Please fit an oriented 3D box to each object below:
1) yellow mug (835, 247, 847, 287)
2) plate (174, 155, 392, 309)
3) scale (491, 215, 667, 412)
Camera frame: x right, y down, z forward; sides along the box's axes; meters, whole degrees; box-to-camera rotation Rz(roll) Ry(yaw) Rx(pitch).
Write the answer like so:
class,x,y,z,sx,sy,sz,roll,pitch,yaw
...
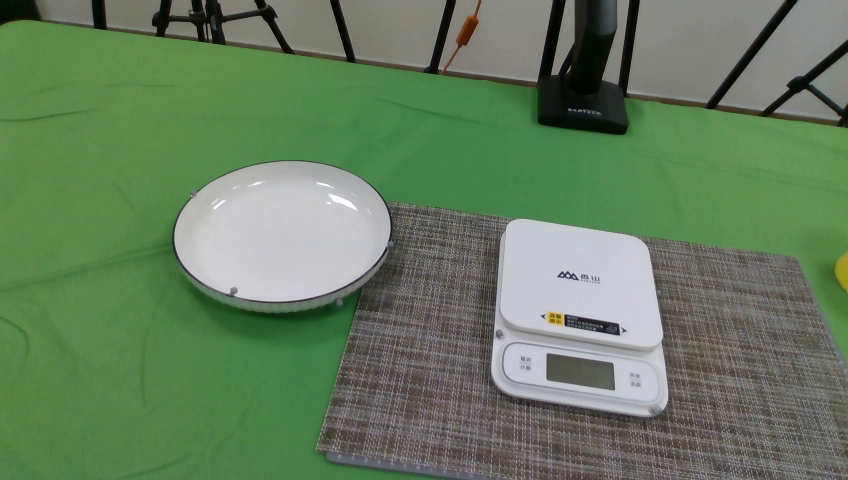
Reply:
class,x,y,z,sx,sy,sz,roll,pitch,yaw
yellow mug,0.499,0.030,0.609,0.100,0.064,0.129,-25,53,-28
plate,-0.136,-0.009,0.604,0.209,0.038,0.207,3,45,-3
scale,0.141,0.058,0.563,0.148,0.032,0.199,8,45,3
